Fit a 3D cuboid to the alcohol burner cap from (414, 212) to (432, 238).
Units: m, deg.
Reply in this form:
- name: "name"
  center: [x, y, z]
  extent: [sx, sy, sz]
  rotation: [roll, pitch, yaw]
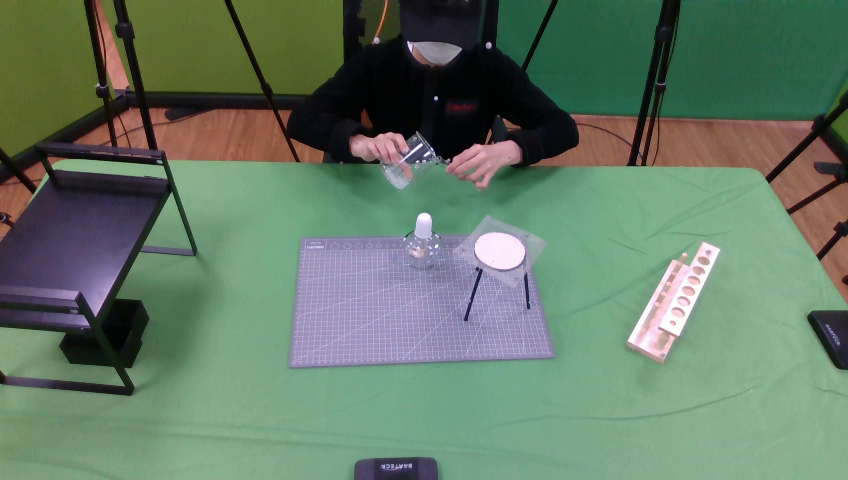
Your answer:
- name: "alcohol burner cap"
  center: [0.000, -0.030, 1.107]
  extent: [0.034, 0.048, 0.033]
  rotation: [4, 41, -3]

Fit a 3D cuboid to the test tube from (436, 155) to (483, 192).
- name: "test tube"
  center: [0.075, -0.134, 1.237]
  extent: [0.017, 0.151, 0.017]
  rotation: [-20, 56, 34]

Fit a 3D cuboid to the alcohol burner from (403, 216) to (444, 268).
- name: "alcohol burner"
  center: [-0.001, -0.004, 1.132]
  extent: [0.078, 0.120, 0.077]
  rotation: [1, 46, 0]

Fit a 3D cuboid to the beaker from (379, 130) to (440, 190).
- name: "beaker"
  center: [-0.028, -0.150, 1.163]
  extent: [0.100, 0.084, 0.073]
  rotation: [-37, 54, 10]

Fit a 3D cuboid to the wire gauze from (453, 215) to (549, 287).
- name: "wire gauze"
  center: [0.129, 0.012, 1.017]
  extent: [0.124, 0.011, 0.121]
  rotation: [28, 50, 23]

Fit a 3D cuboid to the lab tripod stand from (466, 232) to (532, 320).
- name: "lab tripod stand"
  center: [0.125, 0.059, 1.065]
  extent: [0.148, 0.132, 0.147]
  rotation: [1, 45, 0]

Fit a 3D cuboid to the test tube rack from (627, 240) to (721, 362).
- name: "test tube rack"
  center: [0.452, 0.098, 1.087]
  extent: [0.066, 0.085, 0.242]
  rotation: [28, 51, 22]
